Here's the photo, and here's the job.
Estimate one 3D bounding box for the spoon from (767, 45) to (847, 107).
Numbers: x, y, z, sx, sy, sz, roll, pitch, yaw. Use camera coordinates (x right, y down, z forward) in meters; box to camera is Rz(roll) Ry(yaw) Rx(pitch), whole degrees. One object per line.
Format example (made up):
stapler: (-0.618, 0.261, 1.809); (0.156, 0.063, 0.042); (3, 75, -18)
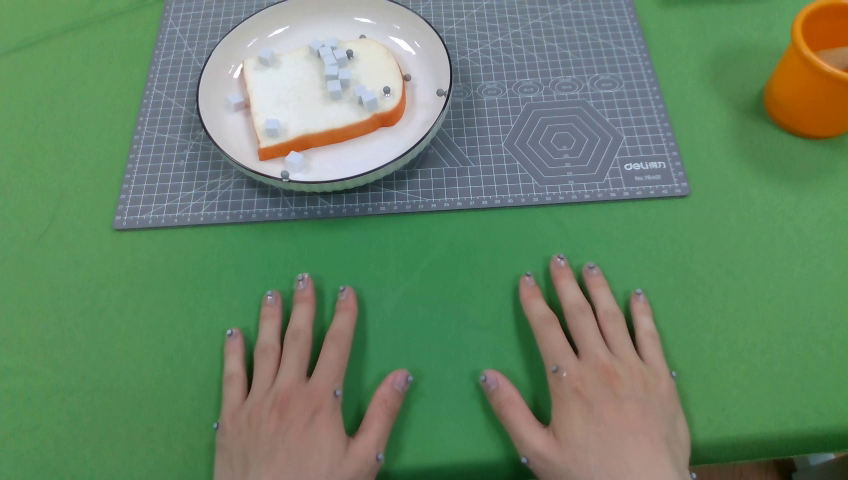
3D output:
spoon: (0.353, -0.154, 0.445); (0.193, 0.022, 0.041); (-24, 51, 36)

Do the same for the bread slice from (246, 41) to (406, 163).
bread slice: (-0.083, -0.125, 0.512); (0.131, 0.019, 0.104); (-17, 62, -6)

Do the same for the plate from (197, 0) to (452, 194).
plate: (-0.080, -0.122, 0.507); (0.209, 0.038, 0.207); (0, 61, 1)
